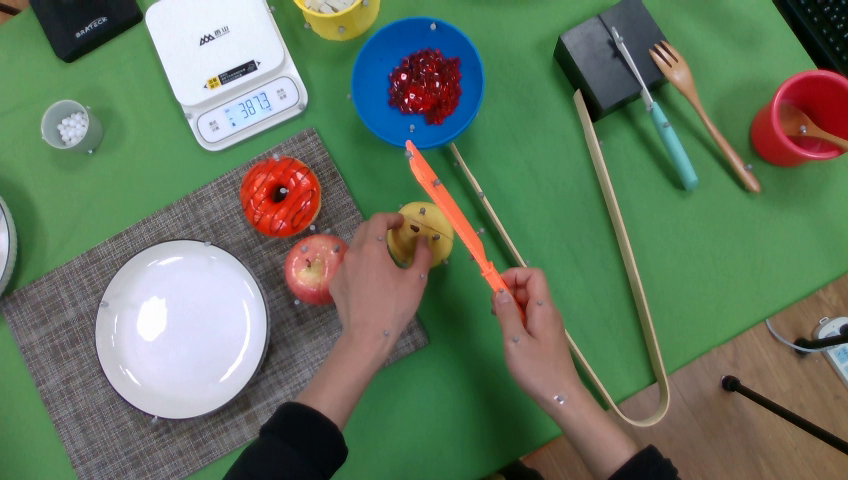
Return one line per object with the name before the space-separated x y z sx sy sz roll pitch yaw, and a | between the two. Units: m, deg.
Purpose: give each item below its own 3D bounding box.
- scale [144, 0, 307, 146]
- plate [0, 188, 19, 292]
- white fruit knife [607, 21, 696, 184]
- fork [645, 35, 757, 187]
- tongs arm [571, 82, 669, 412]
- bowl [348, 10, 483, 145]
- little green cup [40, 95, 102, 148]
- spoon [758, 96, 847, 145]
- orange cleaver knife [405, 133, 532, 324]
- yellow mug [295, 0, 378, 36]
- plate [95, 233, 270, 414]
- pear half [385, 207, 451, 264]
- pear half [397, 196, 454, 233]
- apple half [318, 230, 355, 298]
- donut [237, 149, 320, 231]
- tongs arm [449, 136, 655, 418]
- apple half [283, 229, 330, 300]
scale | -0.246 -0.231 0.750 0.148 0.031 0.200 -25 84 2
plate | -0.598 0.006 0.751 0.207 0.039 0.207 0 85 4
white fruit knife | 0.256 -0.153 0.684 0.016 0.027 0.208 -31 98 1
fork | 0.318 -0.143 0.686 0.028 0.018 0.208 -38 99 -2
tongs arm | 0.222 0.003 0.699 0.028 0.028 0.386 -13 84 -5
bowl | -0.007 -0.177 0.705 0.151 0.077 0.151 0 85 4
little green cup | -0.435 -0.144 0.752 0.061 0.039 0.061 0 85 5
spoon | 0.432 -0.107 0.635 0.041 0.022 0.191 -34 39 0
orange cleaver knife | 0.043 -0.010 0.576 0.012 0.076 0.213 -31 110 15
yellow mug | -0.123 -0.315 0.731 0.130 0.064 0.100 28 88 7
plate | -0.280 0.096 0.716 0.209 0.038 0.208 0 85 4
pear half | -0.011 -0.002 0.674 0.076 0.110 0.056 22 86 10
pear half | 0.005 -0.034 0.686 0.070 0.088 0.031 20 88 11
apple half | -0.094 0.029 0.690 0.033 0.081 0.081 4 85 8
donut | -0.173 -0.059 0.719 0.099 0.048 0.099 0 86 6
tongs arm | 0.143 0.037 0.697 0.051 0.026 0.383 -28 84 -4
apple half | -0.132 0.027 0.694 0.053 0.075 0.080 5 88 8
